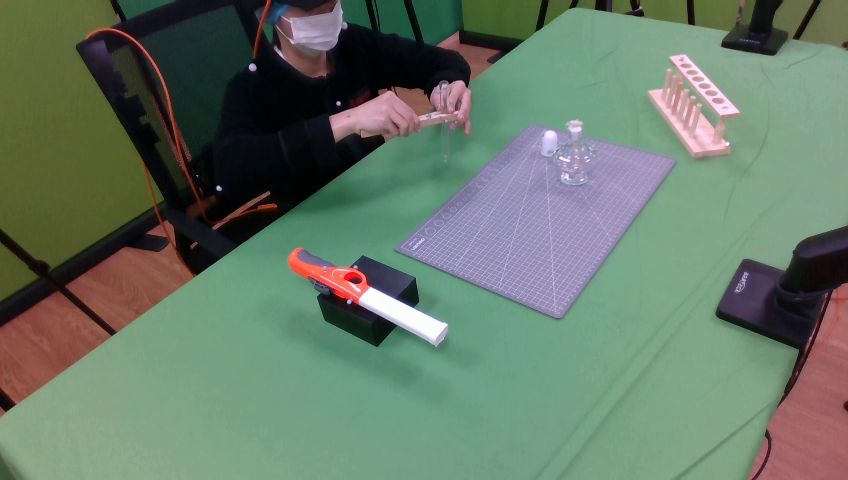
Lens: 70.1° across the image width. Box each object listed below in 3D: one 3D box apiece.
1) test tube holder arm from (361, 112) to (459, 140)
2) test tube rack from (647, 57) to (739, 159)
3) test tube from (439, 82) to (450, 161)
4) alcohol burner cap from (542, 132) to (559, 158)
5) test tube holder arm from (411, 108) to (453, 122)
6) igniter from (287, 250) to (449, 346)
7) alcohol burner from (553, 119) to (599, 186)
[{"bbox_3d":[-0.022,-0.196,1.034,0.179,0.015,0.013,-16,37,-18],"label":"test tube holder arm"},{"bbox_3d":[0.504,-0.257,1.153,0.067,0.085,0.241,-8,40,1],"label":"test tube rack"},{"bbox_3d":[0.036,-0.206,1.066,0.017,0.151,0.017,-2,39,2],"label":"test tube"},{"bbox_3d":[0.237,-0.180,1.134,0.034,0.048,0.033,-5,41,5],"label":"alcohol burner cap"},{"bbox_3d":[0.014,-0.212,1.055,0.088,0.015,0.010,-26,42,-29],"label":"test tube holder arm"},{"bbox_3d":[-0.087,0.073,0.825,0.274,0.025,0.057,23,48,28],"label":"igniter"},{"bbox_3d":[0.261,-0.153,1.042,0.078,0.119,0.077,-6,40,6],"label":"alcohol burner"}]
